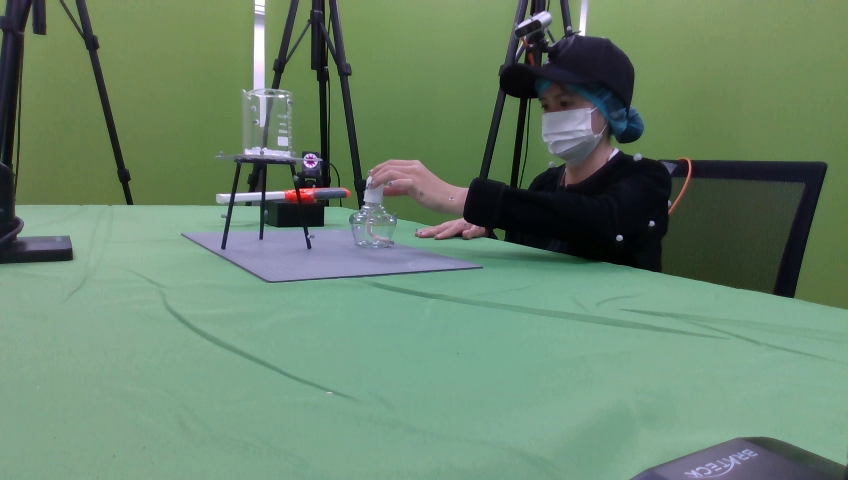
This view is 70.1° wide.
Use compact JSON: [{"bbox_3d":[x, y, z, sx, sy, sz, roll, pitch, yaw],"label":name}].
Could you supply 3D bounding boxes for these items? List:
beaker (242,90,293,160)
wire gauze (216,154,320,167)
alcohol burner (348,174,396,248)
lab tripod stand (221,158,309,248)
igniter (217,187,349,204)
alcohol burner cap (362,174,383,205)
[{"bbox_3d":[-0.235,-0.169,0.900,0.074,0.100,0.084,4,7,23],"label":"beaker"},{"bbox_3d":[-0.236,-0.121,0.906,0.126,0.011,0.121,0,8,-33],"label":"wire gauze"},{"bbox_3d":[-0.083,-0.046,0.973,0.078,0.119,0.078,4,6,0],"label":"alcohol burner"},{"bbox_3d":[-0.244,-0.057,0.917,0.148,0.131,0.148,1,7,0],"label":"lab tripod stand"},{"bbox_3d":[-0.285,-0.093,1.256,0.278,0.025,0.057,-6,12,-34],"label":"igniter"},{"bbox_3d":[-0.081,-0.082,0.969,0.034,0.048,0.034,7,9,-1],"label":"alcohol burner cap"}]
